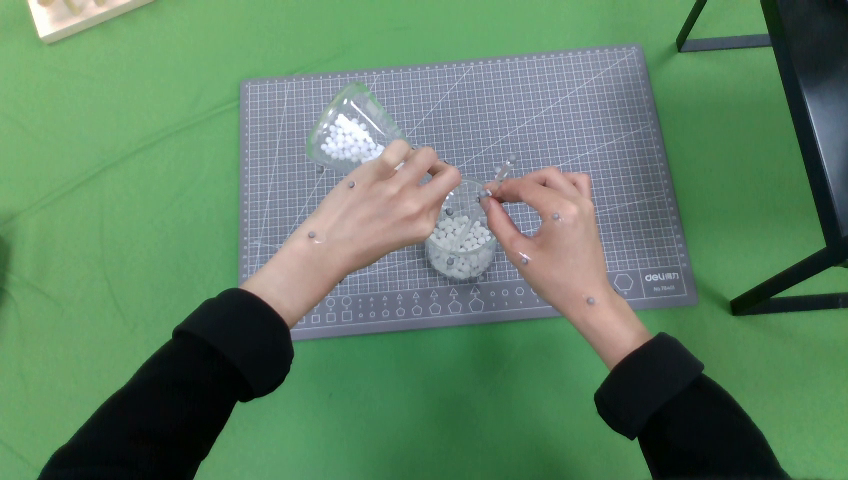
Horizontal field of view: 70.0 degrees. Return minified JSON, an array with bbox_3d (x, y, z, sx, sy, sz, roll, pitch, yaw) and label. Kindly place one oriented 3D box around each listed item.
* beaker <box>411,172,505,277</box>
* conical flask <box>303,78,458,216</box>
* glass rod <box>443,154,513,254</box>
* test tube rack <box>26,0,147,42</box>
[{"bbox_3d":[0.031,-0.010,0.568,0.084,0.101,0.073,18,73,9],"label":"beaker"},{"bbox_3d":[-0.031,-0.069,0.496,0.122,0.075,0.075,35,76,-8],"label":"conical flask"},{"bbox_3d":[0.040,-0.024,0.514,0.008,0.200,0.008,4,69,-10],"label":"glass rod"},{"bbox_3d":[-0.352,-0.324,0.691,0.242,0.086,0.066,-25,73,-6],"label":"test tube rack"}]
